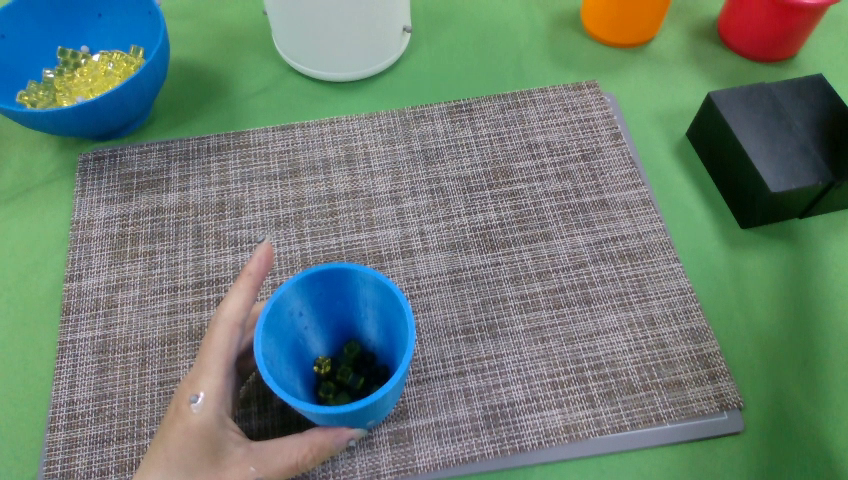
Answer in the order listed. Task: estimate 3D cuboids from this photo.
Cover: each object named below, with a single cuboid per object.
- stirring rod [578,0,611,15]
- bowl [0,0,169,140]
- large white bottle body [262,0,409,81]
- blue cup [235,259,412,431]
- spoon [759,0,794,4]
[{"bbox_3d":[0.213,-0.240,0.527,0.175,0.006,0.014,-17,50,40],"label":"stirring rod"},{"bbox_3d":[-0.277,-0.136,0.498,0.151,0.077,0.150,0,60,0],"label":"bowl"},{"bbox_3d":[-0.078,-0.241,0.498,0.130,0.186,0.129,0,60,0],"label":"large white bottle body"},{"bbox_3d":[-0.049,0.072,0.362,0.092,0.101,0.092,0,61,0],"label":"blue cup"},{"bbox_3d":[0.359,-0.217,0.476,0.192,0.022,0.041,8,60,51],"label":"spoon"}]
